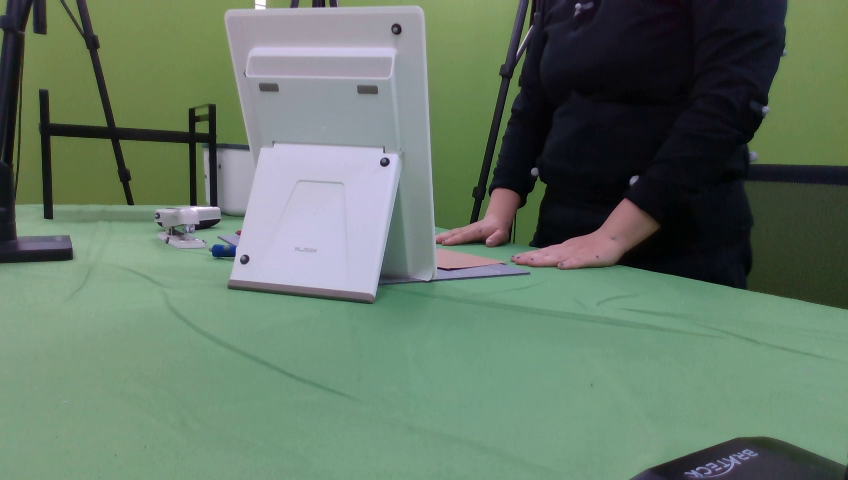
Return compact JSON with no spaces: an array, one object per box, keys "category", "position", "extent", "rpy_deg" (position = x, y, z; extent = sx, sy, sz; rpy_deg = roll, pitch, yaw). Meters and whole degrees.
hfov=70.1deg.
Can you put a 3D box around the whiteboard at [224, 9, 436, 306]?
[{"category":"whiteboard","position":[-0.117,-0.065,0.617],"extent":[0.217,0.305,0.144],"rpy_deg":[5,29,16]}]

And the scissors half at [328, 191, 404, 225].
[{"category":"scissors half","position":[-0.127,-0.072,1.321],"extent":[0.175,0.040,0.013],"rpy_deg":[22,5,-5]}]

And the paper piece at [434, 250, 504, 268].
[{"category":"paper piece","position":[0.025,0.027,0.865],"extent":[0.134,0.004,0.136],"rpy_deg":[9,9,43]}]

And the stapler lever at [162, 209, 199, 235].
[{"category":"stapler lever","position":[-0.376,-0.031,0.933],"extent":[0.027,0.040,0.117],"rpy_deg":[1,7,-38]}]

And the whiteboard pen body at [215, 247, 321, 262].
[{"category":"whiteboard pen body","position":[-0.208,0.018,0.805],"extent":[0.141,0.017,0.017],"rpy_deg":[2,7,1]}]

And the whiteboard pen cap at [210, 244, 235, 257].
[{"category":"whiteboard pen cap","position":[-0.266,0.015,0.806],"extent":[0.033,0.018,0.018],"rpy_deg":[3,7,-1]}]

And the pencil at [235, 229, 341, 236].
[{"category":"pencil","position":[-0.232,-0.012,1.053],"extent":[0.195,0.012,0.012],"rpy_deg":[0,8,-36]}]

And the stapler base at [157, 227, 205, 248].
[{"category":"stapler base","position":[-0.376,-0.007,0.935],"extent":[0.041,0.024,0.130],"rpy_deg":[1,5,-38]}]

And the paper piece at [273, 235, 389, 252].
[{"category":"paper piece","position":[-0.151,0.003,0.978],"extent":[0.135,0.008,0.139],"rpy_deg":[13,10,35]}]

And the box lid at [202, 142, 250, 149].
[{"category":"box lid","position":[-0.344,-0.225,1.509],"extent":[0.373,0.015,0.262],"rpy_deg":[-2,8,-31]}]

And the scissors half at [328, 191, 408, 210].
[{"category":"scissors half","position":[-0.123,-0.092,1.318],"extent":[0.175,0.040,0.013],"rpy_deg":[5,11,-3]}]

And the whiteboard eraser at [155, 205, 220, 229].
[{"category":"whiteboard eraser","position":[-0.428,-0.041,1.101],"extent":[0.055,0.042,0.113],"rpy_deg":[7,8,19]}]

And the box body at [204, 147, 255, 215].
[{"category":"box body","position":[-0.346,-0.152,1.520],"extent":[0.366,0.160,0.253],"rpy_deg":[-2,9,-31]}]
